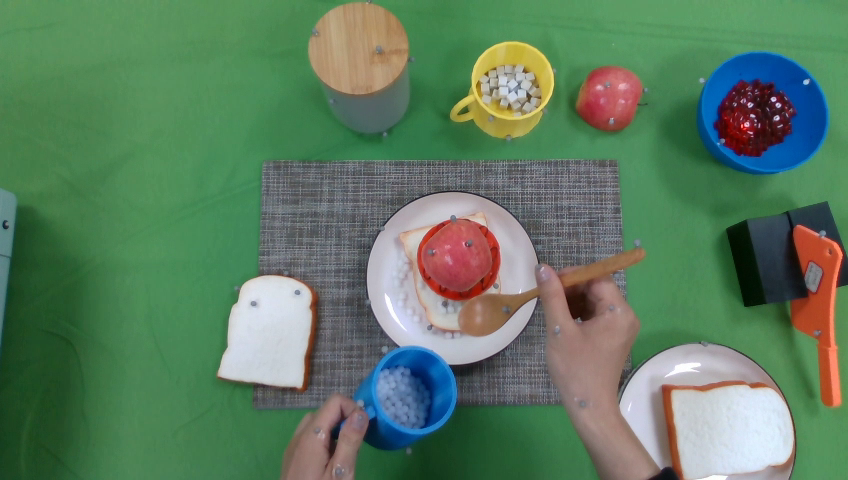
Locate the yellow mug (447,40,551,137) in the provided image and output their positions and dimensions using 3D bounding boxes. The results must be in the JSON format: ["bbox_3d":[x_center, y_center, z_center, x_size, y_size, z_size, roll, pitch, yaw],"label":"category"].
[{"bbox_3d":[0.089,-0.181,0.752,0.131,0.064,0.099,-24,81,-4],"label":"yellow mug"}]

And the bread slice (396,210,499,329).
[{"bbox_3d":[0.037,0.038,0.725,0.107,0.018,0.133,-17,80,-3],"label":"bread slice"}]

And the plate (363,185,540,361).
[{"bbox_3d":[0.032,0.040,0.723,0.208,0.039,0.207,0,80,0],"label":"plate"}]

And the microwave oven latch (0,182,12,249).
[{"bbox_3d":[-0.511,-0.030,0.715,0.030,0.029,0.079,4,81,0],"label":"microwave oven latch"}]

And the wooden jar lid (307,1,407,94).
[{"bbox_3d":[-0.073,-0.207,0.662,0.108,0.021,0.108,0,78,0],"label":"wooden jar lid"}]

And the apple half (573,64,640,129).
[{"bbox_3d":[0.232,-0.186,0.761,0.074,0.053,0.080,22,81,6],"label":"apple half"}]

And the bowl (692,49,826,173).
[{"bbox_3d":[0.394,-0.146,0.742,0.151,0.077,0.151,0,80,0],"label":"bowl"}]

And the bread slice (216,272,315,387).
[{"bbox_3d":[-0.186,0.103,0.721,0.105,0.019,0.131,7,81,0],"label":"bread slice"}]

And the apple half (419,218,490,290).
[{"bbox_3d":[0.035,0.014,0.663,0.081,0.033,0.081,-1,81,6],"label":"apple half"}]

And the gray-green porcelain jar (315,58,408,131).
[{"bbox_3d":[-0.072,-0.195,0.723,0.106,0.127,0.105,0,80,0],"label":"gray-green porcelain jar"}]

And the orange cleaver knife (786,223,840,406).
[{"bbox_3d":[0.449,0.086,0.700,0.012,0.077,0.212,-11,102,-9],"label":"orange cleaver knife"}]

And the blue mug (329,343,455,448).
[{"bbox_3d":[-0.039,0.161,0.592,0.117,0.106,0.082,-20,73,-26],"label":"blue mug"}]

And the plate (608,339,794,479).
[{"bbox_3d":[0.313,0.219,0.698,0.209,0.038,0.208,0,80,0],"label":"plate"}]

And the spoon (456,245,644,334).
[{"bbox_3d":[0.105,0.044,0.539,0.022,0.193,0.041,14,59,-42],"label":"spoon"}]

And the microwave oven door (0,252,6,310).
[{"bbox_3d":[-0.513,0.168,0.578,0.039,0.244,0.354,0,80,0],"label":"microwave oven door"}]

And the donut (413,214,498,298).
[{"bbox_3d":[0.037,0.019,0.699,0.099,0.048,0.098,0,80,0],"label":"donut"}]
